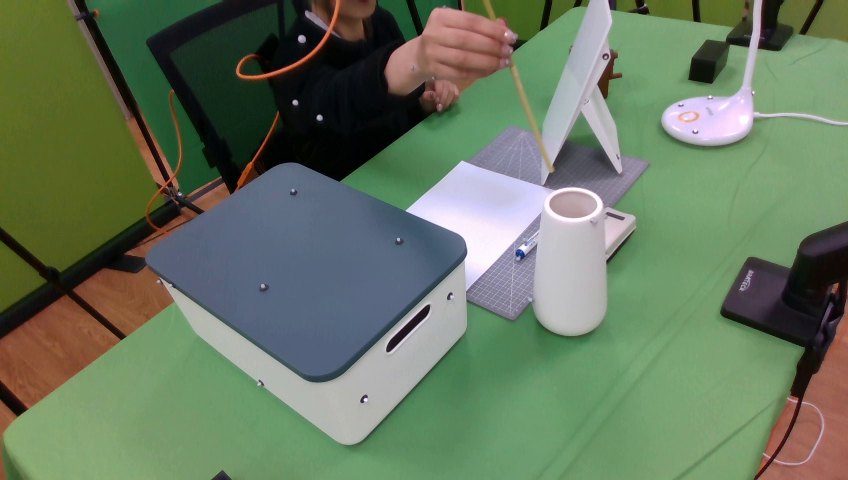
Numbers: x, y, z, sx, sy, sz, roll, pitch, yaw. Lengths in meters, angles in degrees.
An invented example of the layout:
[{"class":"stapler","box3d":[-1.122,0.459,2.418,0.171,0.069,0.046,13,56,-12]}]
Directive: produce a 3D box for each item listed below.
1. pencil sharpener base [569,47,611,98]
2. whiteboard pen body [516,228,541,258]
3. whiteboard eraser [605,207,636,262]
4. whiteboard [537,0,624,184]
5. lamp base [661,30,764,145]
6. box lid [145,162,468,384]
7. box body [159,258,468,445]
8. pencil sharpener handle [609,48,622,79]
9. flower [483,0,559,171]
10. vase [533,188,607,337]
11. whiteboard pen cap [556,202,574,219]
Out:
[{"class":"pencil sharpener base","box3d":[0.346,-0.352,1.262,0.077,0.107,0.061,-10,40,-1]},{"class":"whiteboard pen body","box3d":[0.192,-0.015,0.964,0.017,0.017,0.141,26,51,34]},{"class":"whiteboard eraser","box3d":[0.272,-0.003,0.919,0.055,0.042,0.113,27,51,32]},{"class":"whiteboard","box3d":[0.316,-0.256,1.047,0.144,0.306,0.216,15,42,-1]},{"class":"lamp base","box3d":[0.535,-0.287,1.096,0.179,0.181,0.159,-10,40,-4]},{"class":"box lid","box3d":[-0.157,0.014,0.769,0.368,0.015,0.264,25,51,33]},{"class":"box body","box3d":[-0.147,0.072,0.816,0.361,0.161,0.255,24,50,33]},{"class":"pencil sharpener handle","box3d":[0.395,-0.368,1.254,0.031,0.068,0.036,-10,32,-1]},{"class":"flower","box3d":[0.081,-0.220,0.647,0.038,0.364,0.044,-8,38,35]},{"class":"vase","box3d":[0.187,0.033,0.771,0.098,0.201,0.097,-6,41,6]},{"class":"whiteboard pen cap","box3d":[0.230,-0.048,0.994,0.018,0.018,0.033,26,53,34]}]
